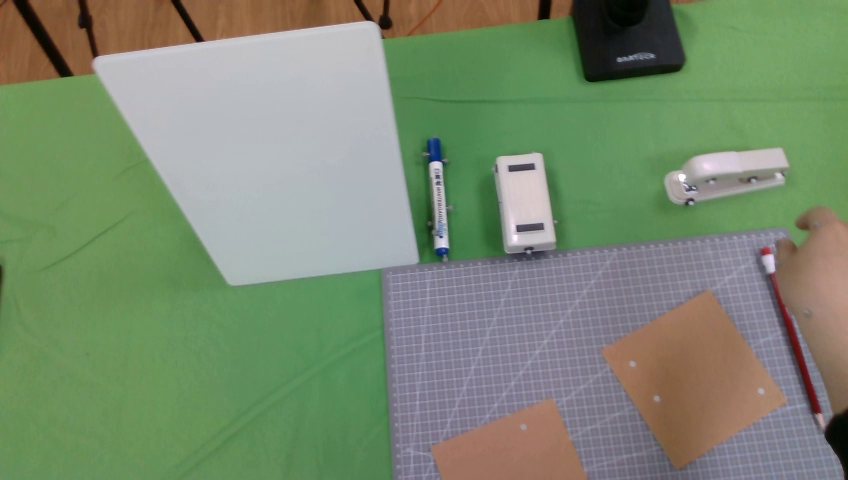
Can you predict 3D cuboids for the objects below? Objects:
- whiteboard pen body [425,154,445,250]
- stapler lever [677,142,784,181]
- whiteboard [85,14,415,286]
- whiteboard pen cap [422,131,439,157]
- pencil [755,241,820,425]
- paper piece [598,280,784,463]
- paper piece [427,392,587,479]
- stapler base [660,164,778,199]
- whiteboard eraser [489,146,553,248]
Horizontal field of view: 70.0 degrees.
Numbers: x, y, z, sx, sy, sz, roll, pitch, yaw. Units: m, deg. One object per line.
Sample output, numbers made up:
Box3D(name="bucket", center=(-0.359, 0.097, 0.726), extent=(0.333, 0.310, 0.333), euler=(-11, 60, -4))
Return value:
Box3D(name="whiteboard pen body", center=(0.011, -0.056, 0.696), extent=(0.017, 0.017, 0.140), euler=(-5, 71, 2))
Box3D(name="stapler lever", center=(0.334, -0.087, 0.658), extent=(0.118, 0.040, 0.026), euler=(-12, 73, -1))
Box3D(name="whiteboard", center=(-0.134, -0.109, 0.603), extent=(0.217, 0.308, 0.142), euler=(-6, 52, 2))
Box3D(name="whiteboard pen cap", center=(0.008, -0.111, 0.713), extent=(0.018, 0.018, 0.033), euler=(-8, 69, 1))
Box3D(name="pencil", center=(0.376, 0.092, 0.626), extent=(0.012, 0.012, 0.193), euler=(-10, 74, 1))
Box3D(name="paper piece", center=(0.271, 0.132, 0.621), extent=(0.136, 0.009, 0.137), euler=(-29, 74, -2))
Box3D(name="paper piece", center=(0.089, 0.237, 0.596), extent=(0.135, 0.004, 0.135), euler=(-20, 72, -4))
Box3D(name="stapler base", center=(0.334, -0.079, 0.681), extent=(0.130, 0.024, 0.041), euler=(-11, 74, -2))
Box3D(name="whiteboard eraser", center=(0.107, -0.047, 0.675), extent=(0.055, 0.042, 0.112), euler=(-7, 72, 2))
